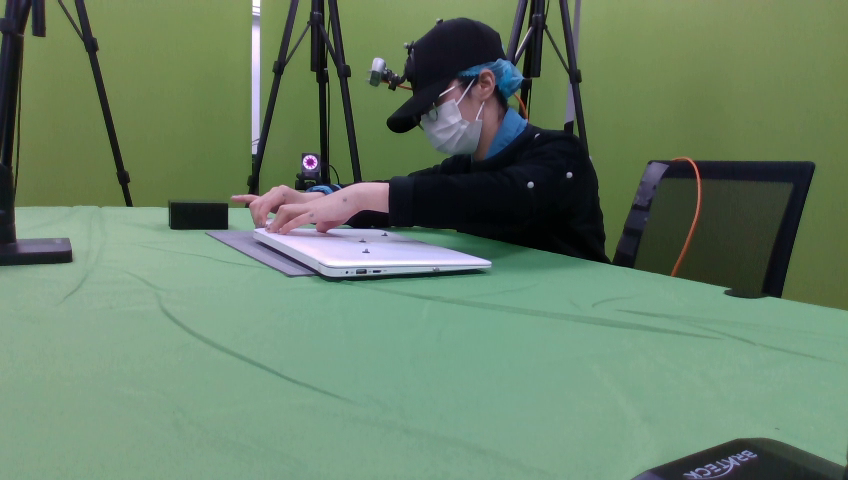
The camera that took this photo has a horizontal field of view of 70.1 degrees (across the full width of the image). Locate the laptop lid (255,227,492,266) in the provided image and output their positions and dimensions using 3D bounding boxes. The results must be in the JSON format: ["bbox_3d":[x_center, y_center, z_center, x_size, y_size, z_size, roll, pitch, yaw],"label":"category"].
[{"bbox_3d":[-0.092,0.004,0.888,0.243,0.013,0.355,0,7,-28],"label":"laptop lid"}]

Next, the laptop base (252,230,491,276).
[{"bbox_3d":[-0.095,0.016,0.889,0.237,0.023,0.352,1,7,-30],"label":"laptop base"}]

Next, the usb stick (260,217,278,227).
[{"bbox_3d":[-0.260,-0.022,1.018,0.021,0.027,0.059,0,14,-25],"label":"usb stick"}]
